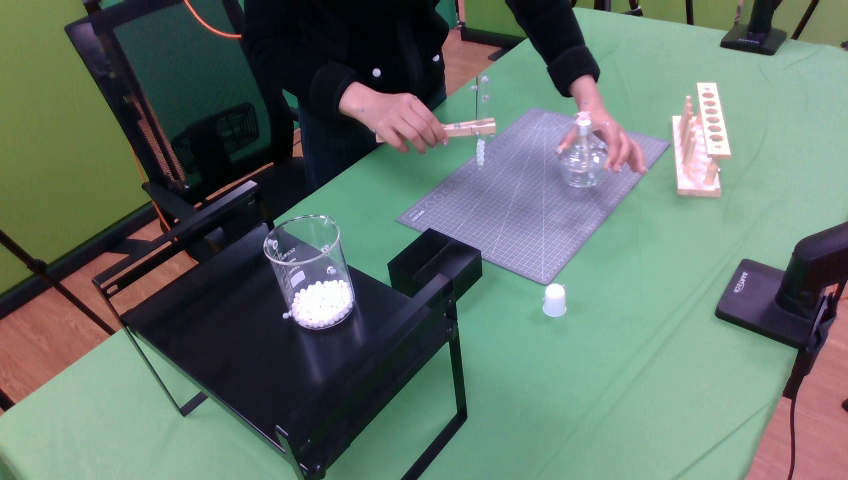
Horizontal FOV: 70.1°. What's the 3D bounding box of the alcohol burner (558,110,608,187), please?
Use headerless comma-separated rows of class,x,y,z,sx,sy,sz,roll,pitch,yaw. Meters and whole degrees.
alcohol burner,0.248,-0.145,0.943,0.078,0.119,0.077,-6,34,4

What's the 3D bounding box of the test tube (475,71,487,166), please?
test tube,0.085,-0.176,0.893,0.017,0.151,0.017,-2,39,2

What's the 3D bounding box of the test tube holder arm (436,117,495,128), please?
test tube holder arm,0.062,-0.169,0.901,0.088,0.015,0.010,-10,36,-4

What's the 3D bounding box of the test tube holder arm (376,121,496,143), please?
test tube holder arm,0.018,-0.160,0.896,0.178,0.015,0.013,-6,35,2

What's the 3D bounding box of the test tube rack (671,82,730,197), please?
test tube rack,0.482,-0.184,1.067,0.066,0.085,0.242,6,42,14

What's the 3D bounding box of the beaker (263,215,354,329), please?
beaker,-0.112,0.034,0.616,0.073,0.101,0.084,13,44,23

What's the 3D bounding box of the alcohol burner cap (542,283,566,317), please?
alcohol burner cap,0.182,0.081,0.839,0.034,0.048,0.033,-3,40,3
